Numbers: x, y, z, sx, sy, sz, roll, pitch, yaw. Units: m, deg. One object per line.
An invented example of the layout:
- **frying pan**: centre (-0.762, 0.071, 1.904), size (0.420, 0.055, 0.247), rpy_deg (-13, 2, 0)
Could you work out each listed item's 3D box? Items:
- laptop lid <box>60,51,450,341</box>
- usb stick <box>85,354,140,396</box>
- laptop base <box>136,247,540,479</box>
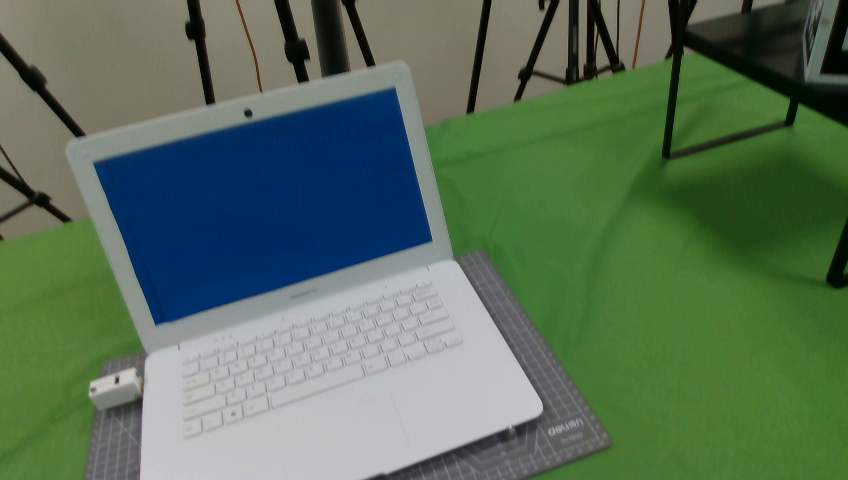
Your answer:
- **laptop lid**: centre (-0.159, -0.046, 0.645), size (0.357, 0.243, 0.013), rpy_deg (-18, 18, -10)
- **usb stick**: centre (-0.302, 0.132, 0.604), size (0.059, 0.027, 0.021), rpy_deg (-14, 36, -12)
- **laptop base**: centre (-0.095, 0.128, 0.591), size (0.355, 0.023, 0.232), rpy_deg (-17, 41, -11)
